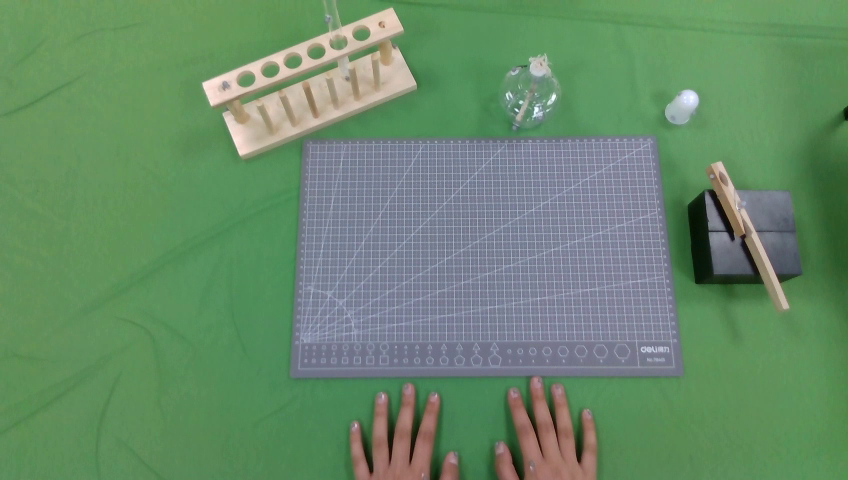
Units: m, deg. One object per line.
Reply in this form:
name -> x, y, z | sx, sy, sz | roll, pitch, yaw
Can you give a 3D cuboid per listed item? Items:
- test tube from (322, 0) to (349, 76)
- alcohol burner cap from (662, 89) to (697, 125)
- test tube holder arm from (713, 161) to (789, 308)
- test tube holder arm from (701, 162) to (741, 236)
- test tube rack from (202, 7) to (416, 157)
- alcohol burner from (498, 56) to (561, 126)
test tube -> -0.103, -0.243, 0.711 | 0.017, 0.151, 0.017 | 0, 68, 1
alcohol burner cap -> 0.324, -0.170, 0.763 | 0.034, 0.048, 0.033 | 0, 74, 2
test tube holder arm -> 0.363, -0.008, 0.682 | 0.013, 0.015, 0.177 | -20, 77, -7
test tube holder arm -> 0.342, -0.047, 0.691 | 0.010, 0.015, 0.087 | -19, 77, -6
test tube rack -> -0.135, -0.193, 0.749 | 0.242, 0.085, 0.066 | -24, 75, -6
alcohol burner -> 0.130, -0.188, 0.732 | 0.078, 0.119, 0.077 | 0, 76, 0
